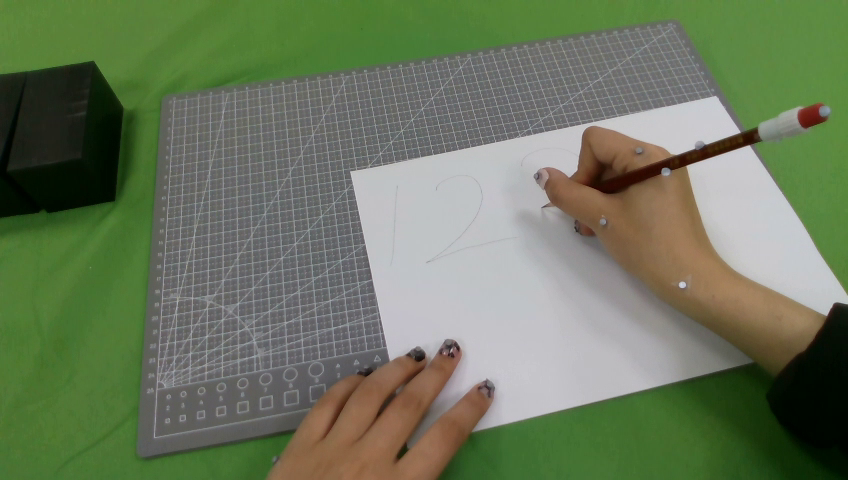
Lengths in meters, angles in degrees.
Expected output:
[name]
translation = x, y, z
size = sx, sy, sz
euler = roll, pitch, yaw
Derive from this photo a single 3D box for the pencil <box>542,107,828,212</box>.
[pencil]
translation = 0.131, -0.038, 0.352
size = 0.012, 0.193, 0.012
euler = 6, 77, -28
